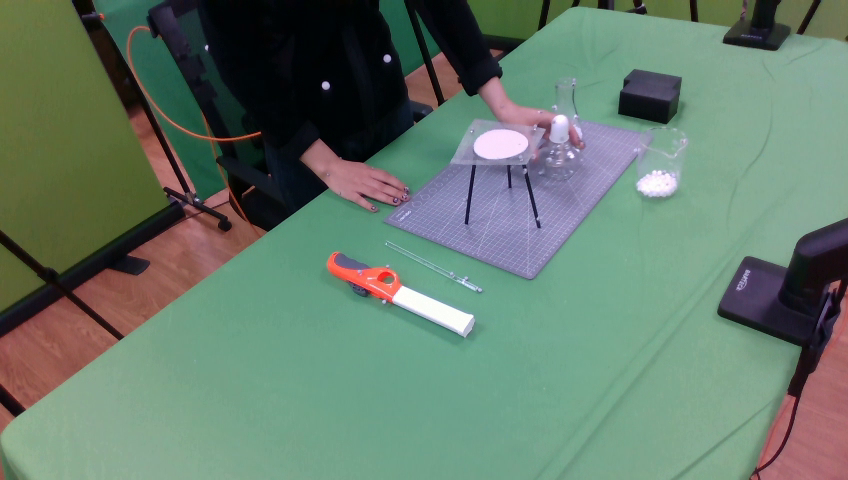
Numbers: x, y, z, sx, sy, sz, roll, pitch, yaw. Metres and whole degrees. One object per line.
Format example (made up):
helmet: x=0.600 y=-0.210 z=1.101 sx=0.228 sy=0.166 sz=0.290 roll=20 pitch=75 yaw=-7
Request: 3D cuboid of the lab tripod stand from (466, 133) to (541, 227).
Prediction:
lab tripod stand: x=0.129 y=-0.099 z=0.985 sx=0.148 sy=0.132 sz=0.147 roll=-7 pitch=38 yaw=6

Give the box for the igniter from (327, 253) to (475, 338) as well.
igniter: x=-0.045 y=0.077 z=0.898 sx=0.274 sy=0.025 sz=0.057 roll=22 pitch=60 yaw=32

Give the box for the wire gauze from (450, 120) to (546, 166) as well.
wire gauze: x=0.117 y=-0.151 z=0.943 sx=0.121 sy=0.011 sz=0.125 roll=9 pitch=43 yaw=20

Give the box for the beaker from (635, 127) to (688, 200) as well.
beaker: x=0.388 y=-0.122 z=0.994 sx=0.074 sy=0.101 sz=0.083 roll=-8 pitch=40 yaw=2

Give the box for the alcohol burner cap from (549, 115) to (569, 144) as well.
alcohol burner cap: x=0.231 y=-0.191 z=1.034 sx=0.034 sy=0.048 sz=0.033 roll=-4 pitch=50 yaw=6

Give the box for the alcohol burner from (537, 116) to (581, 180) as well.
alcohol burner: x=0.236 y=-0.166 z=1.059 sx=0.078 sy=0.120 sz=0.077 roll=-6 pitch=43 yaw=6

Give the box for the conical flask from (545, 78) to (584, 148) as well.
conical flask: x=0.264 y=-0.241 z=1.135 sx=0.075 sy=0.122 sz=0.075 roll=-6 pitch=40 yaw=5

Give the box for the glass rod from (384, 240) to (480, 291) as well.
glass rod: x=0.009 y=0.037 z=0.950 sx=0.198 sy=0.008 sz=0.008 roll=26 pitch=52 yaw=34
